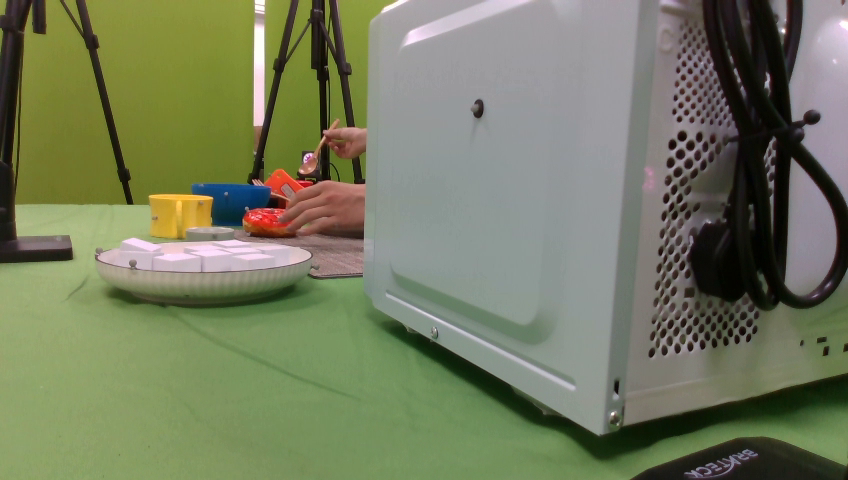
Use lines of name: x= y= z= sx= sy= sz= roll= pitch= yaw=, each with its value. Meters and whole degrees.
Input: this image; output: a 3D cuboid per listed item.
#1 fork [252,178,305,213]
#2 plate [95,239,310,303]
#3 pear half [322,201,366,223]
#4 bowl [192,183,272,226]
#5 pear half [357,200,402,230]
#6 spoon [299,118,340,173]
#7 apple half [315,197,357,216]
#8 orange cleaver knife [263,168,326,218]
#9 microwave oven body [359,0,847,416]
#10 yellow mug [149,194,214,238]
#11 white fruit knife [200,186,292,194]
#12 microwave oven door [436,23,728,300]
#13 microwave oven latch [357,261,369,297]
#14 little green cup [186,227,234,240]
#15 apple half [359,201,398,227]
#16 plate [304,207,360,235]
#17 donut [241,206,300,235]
fork: x=-0.295 y=-0.084 z=1.292 sx=0.206 sy=0.018 sz=0.028 roll=29 pitch=11 yaw=25
plate: x=-0.224 y=0.031 z=0.629 sx=0.208 sy=0.039 sz=0.207 roll=2 pitch=7 yaw=0
pear half: x=-0.157 y=-0.059 z=1.197 sx=0.088 sy=0.031 sz=0.070 roll=11 pitch=30 yaw=-3
bowl: x=-0.381 y=-0.071 z=1.202 sx=0.151 sy=0.077 sz=0.151 roll=3 pitch=7 yaw=0
pear half: x=-0.075 y=-0.046 z=1.133 sx=0.076 sy=0.056 sz=0.110 roll=12 pitch=7 yaw=30
spoon: x=-0.271 y=-0.251 z=1.593 sx=0.041 sy=0.193 sz=0.022 roll=17 pitch=-22 yaw=25
apple half: x=-0.162 y=-0.053 z=1.121 sx=0.081 sy=0.053 sz=0.074 roll=4 pitch=8 yaw=-14
orange cleaver knife: x=-0.263 y=-0.087 z=1.353 sx=0.211 sy=0.077 sz=0.012 roll=28 pitch=13 yaw=-1
microwave oven body: x=0.211 y=-0.047 z=0.474 sx=0.444 sy=0.260 sz=0.324 roll=-1 pitch=7 yaw=-28
yellow mug: x=-0.401 y=-0.040 z=1.003 sx=0.100 sy=0.064 sz=0.130 roll=0 pitch=9 yaw=-20
white fruit knife: x=-0.399 y=-0.111 z=1.368 sx=0.208 sy=0.016 sz=0.027 roll=-4 pitch=-19 yaw=-30
microwave oven door: x=0.180 y=-0.073 z=0.621 sx=0.358 sy=0.243 sz=0.039 roll=-2 pitch=9 yaw=-29
microwave oven latch: x=-0.019 y=0.033 z=0.530 sx=0.079 sy=0.029 sz=0.030 roll=-1 pitch=7 yaw=-27
little green cup: x=-0.285 y=0.005 z=0.805 sx=0.061 sy=0.038 sz=0.061 roll=2 pitch=8 yaw=0
apple half: x=-0.088 y=-0.058 z=1.190 sx=0.081 sy=0.033 sz=0.081 roll=9 pitch=29 yaw=-5
plate: x=-0.123 y=-0.037 z=1.149 sx=0.209 sy=0.038 sz=0.209 roll=2 pitch=7 yaw=0
donut: x=-0.263 y=-0.032 z=1.039 sx=0.099 sy=0.048 sz=0.099 roll=4 pitch=9 yaw=0
